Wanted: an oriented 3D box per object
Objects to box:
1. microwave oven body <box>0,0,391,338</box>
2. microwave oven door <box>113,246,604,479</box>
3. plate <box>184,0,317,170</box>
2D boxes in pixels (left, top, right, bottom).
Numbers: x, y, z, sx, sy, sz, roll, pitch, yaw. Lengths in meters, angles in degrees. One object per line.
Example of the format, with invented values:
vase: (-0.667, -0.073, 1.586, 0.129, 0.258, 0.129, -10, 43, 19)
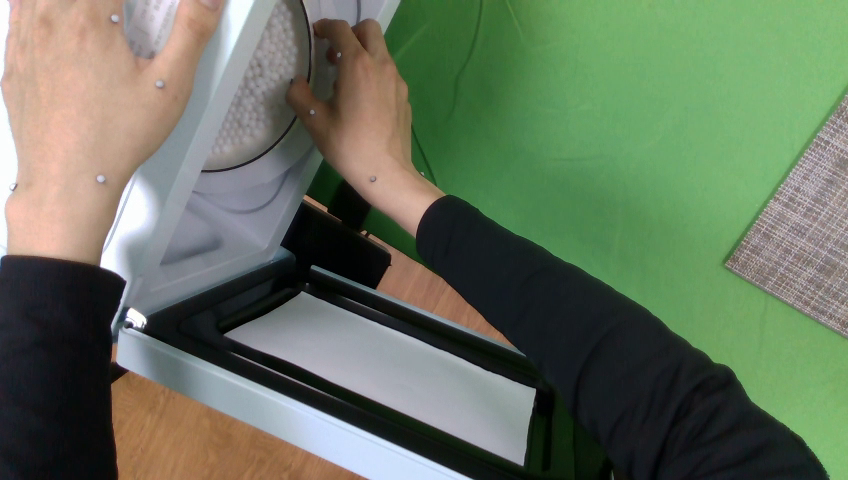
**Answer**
microwave oven body: (-0.196, -0.207, 0.478, 0.325, 0.260, 0.442, 31, 106, 5)
microwave oven door: (-0.021, 0.107, 0.495, 0.355, 0.243, 0.039, 21, 104, 8)
plate: (-0.190, -0.169, 0.541, 0.208, 0.038, 0.209, 2, 101, 12)
